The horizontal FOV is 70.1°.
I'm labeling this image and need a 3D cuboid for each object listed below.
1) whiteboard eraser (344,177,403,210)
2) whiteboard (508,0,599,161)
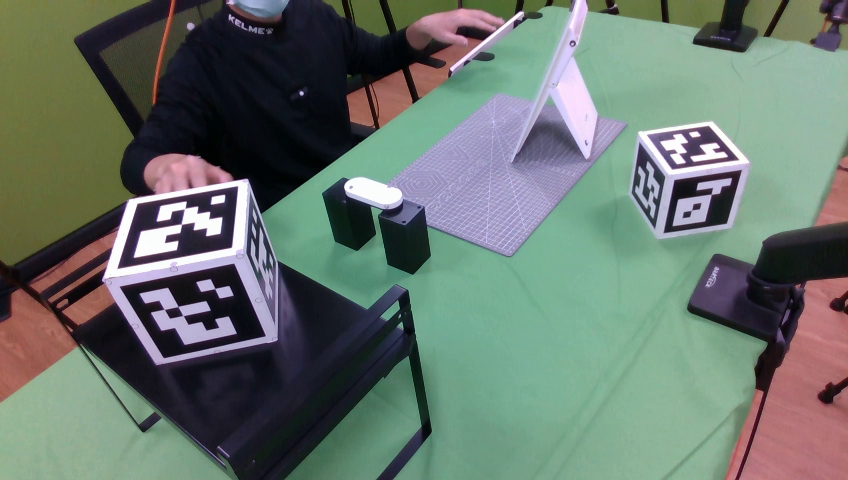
[{"bbox_3d":[-0.077,-0.071,0.911,0.100,0.019,0.041,20,50,29],"label":"whiteboard eraser"},{"bbox_3d":[0.285,-0.289,1.090,0.144,0.305,0.217,22,45,3],"label":"whiteboard"}]
